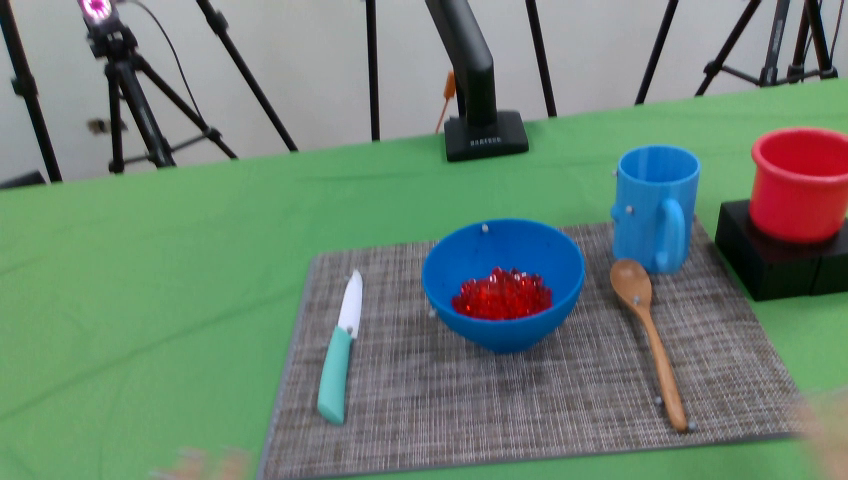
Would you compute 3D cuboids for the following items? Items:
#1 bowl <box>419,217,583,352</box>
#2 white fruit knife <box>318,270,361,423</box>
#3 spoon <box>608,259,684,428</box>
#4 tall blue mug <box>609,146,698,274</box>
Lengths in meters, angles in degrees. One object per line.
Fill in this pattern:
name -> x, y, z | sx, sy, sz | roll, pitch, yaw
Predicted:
bowl -> 0.075, 0.053, 0.579 | 0.151, 0.077, 0.150 | -7, 37, 5
white fruit knife -> -0.082, 0.096, 0.615 | 0.027, 0.016, 0.205 | 18, 34, -11
spoon -> 0.204, 0.085, 0.553 | 0.042, 0.022, 0.192 | 9, 37, -4
tall blue mug -> 0.242, -0.024, 0.617 | 0.078, 0.109, 0.106 | -23, 38, -17
